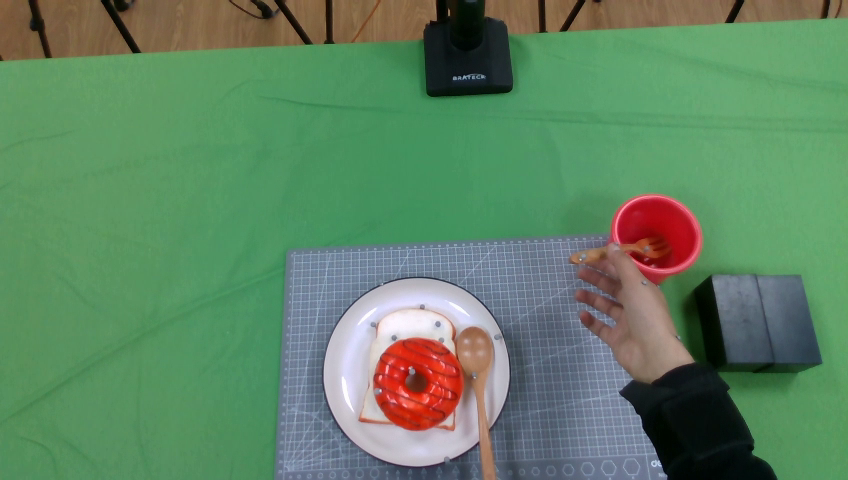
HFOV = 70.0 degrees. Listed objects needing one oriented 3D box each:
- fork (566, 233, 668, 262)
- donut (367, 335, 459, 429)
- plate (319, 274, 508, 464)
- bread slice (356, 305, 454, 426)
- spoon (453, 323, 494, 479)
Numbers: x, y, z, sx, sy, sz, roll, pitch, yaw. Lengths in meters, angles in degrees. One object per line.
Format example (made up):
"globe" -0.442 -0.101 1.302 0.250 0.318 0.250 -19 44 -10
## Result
"fork" 0.216 0.009 0.666 0.208 0.018 0.028 -4 59 -46
"donut" -0.011 0.149 0.644 0.099 0.048 0.098 1 72 -1
"plate" -0.011 0.141 0.677 0.209 0.038 0.207 0 68 1
"bread slice" -0.018 0.137 0.681 0.105 0.019 0.130 4 69 1
"spoon" 0.058 0.179 0.645 0.041 0.022 0.192 -6 55 3
